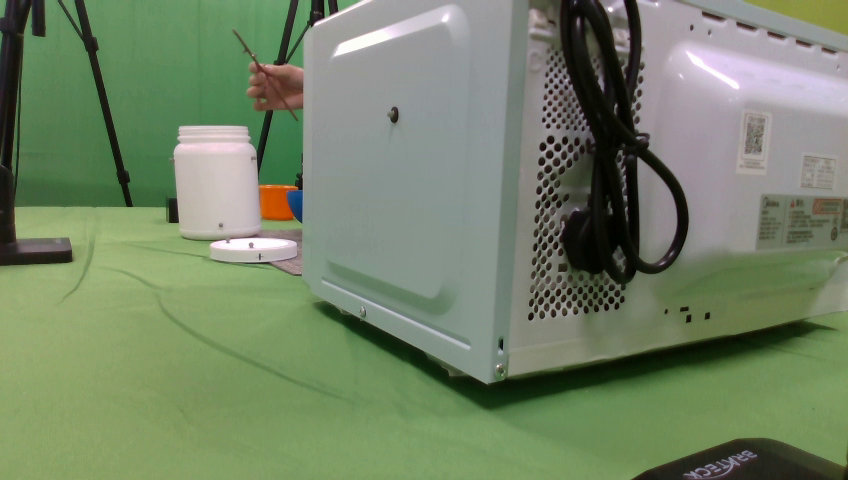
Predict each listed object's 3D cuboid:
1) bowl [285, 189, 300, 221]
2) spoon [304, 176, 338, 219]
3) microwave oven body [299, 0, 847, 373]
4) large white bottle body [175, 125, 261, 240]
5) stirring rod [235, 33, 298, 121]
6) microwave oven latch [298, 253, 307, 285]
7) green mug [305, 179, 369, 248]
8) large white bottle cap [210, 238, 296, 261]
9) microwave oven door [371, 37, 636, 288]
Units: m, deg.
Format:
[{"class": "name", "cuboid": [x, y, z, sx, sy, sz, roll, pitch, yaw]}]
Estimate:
[{"class": "bowl", "cuboid": [-0.180, -0.051, 1.113, 0.151, 0.077, 0.151, 2, 8, 0]}, {"class": "spoon", "cuboid": [-0.201, -0.084, 1.146, 0.042, 0.021, 0.193, 3, 30, -25]}, {"class": "microwave oven body", "cuboid": [0.152, -0.055, 0.542, 0.444, 0.260, 0.324, -2, 7, -33]}, {"class": "large white bottle body", "cuboid": [-0.349, -0.100, 1.025, 0.131, 0.184, 0.130, -1, 9, 0]}, {"class": "stirring rod", "cuboid": [-0.274, -0.284, 1.060, 0.006, 0.176, 0.014, -37, 20, -8]}, {"class": "microwave oven latch", "cuboid": [-0.081, 0.027, 0.583, 0.079, 0.029, 0.030, -2, 8, -33]}, {"class": "green mug", "cuboid": [-0.133, -0.044, 0.977, 0.092, 0.105, 0.126, 6, 8, 32]}, {"class": "large white bottle cap", "cuboid": [-0.236, 0.012, 0.839, 0.115, 0.018, 0.115, 1, 8, 0]}, {"class": "microwave oven door", "cuboid": [0.109, -0.080, 0.686, 0.358, 0.243, 0.039, -2, 9, -33]}]
